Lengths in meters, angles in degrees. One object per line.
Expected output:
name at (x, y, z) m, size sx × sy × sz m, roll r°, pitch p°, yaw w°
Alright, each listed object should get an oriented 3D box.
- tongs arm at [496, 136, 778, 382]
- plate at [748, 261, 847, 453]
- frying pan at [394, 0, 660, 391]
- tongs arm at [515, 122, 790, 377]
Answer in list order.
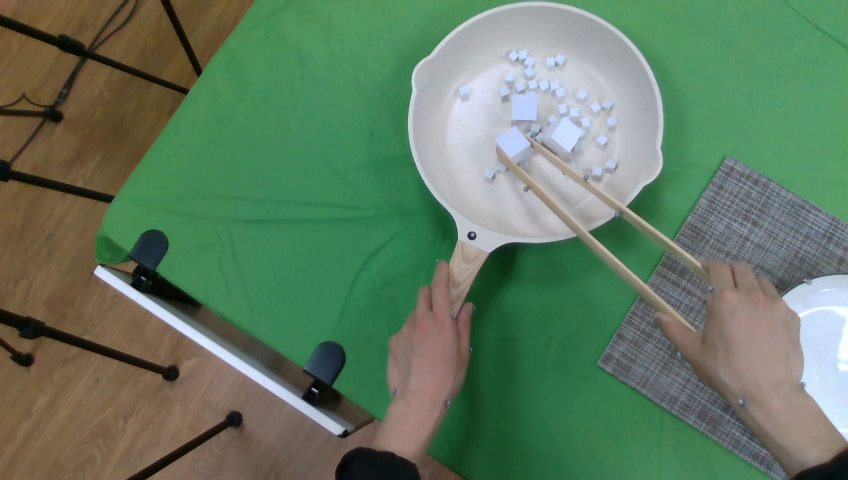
tongs arm at (0.192, 0.002, 0.627) m, size 0.028 × 0.028 × 0.383 m, roll -35°, pitch 55°, yaw -6°
plate at (0.464, 0.128, 0.672) m, size 0.207 × 0.039 × 0.207 m, roll -1°, pitch 81°, yaw 5°
frying pan at (0.079, -0.055, 0.700) m, size 0.306 × 0.103 × 0.486 m, roll 25°, pitch 75°, yaw 9°
tongs arm at (0.209, -0.012, 0.628) m, size 0.051 × 0.027 × 0.380 m, roll -41°, pitch 56°, yaw -6°
